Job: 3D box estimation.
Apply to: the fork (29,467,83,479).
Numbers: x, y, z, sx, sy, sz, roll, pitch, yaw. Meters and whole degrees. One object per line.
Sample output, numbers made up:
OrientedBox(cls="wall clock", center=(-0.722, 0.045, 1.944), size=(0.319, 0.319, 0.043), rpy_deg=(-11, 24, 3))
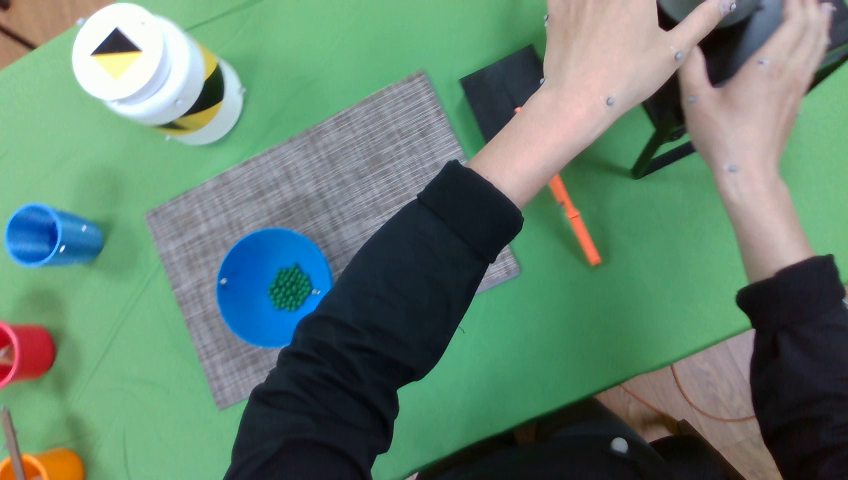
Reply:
OrientedBox(cls="fork", center=(-0.571, 0.330, 0.800), size=(0.208, 0.018, 0.028), rpy_deg=(0, 93, -33))

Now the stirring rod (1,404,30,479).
OrientedBox(cls="stirring rod", center=(-0.527, 0.301, 0.792), size=(0.014, 0.006, 0.175), rpy_deg=(-20, 82, 6))

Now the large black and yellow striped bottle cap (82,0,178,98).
OrientedBox(cls="large black and yellow striped bottle cap", center=(-0.341, -0.223, 0.701), size=(0.115, 0.019, 0.115), rpy_deg=(-1, 86, 11))

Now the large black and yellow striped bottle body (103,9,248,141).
OrientedBox(cls="large black and yellow striped bottle body", center=(-0.327, -0.214, 0.783), size=(0.130, 0.185, 0.130), rpy_deg=(-1, 84, 11))

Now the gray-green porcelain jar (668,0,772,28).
OrientedBox(cls="gray-green porcelain jar", center=(0.267, -0.252, 0.521), size=(0.105, 0.127, 0.105), rpy_deg=(-1, 85, 12))

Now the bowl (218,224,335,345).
OrientedBox(cls="bowl", center=(-0.177, 0.058, 0.782), size=(0.151, 0.077, 0.151), rpy_deg=(-1, 85, 11))

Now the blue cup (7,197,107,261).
OrientedBox(cls="blue cup", center=(-0.499, -0.010, 0.840), size=(0.092, 0.100, 0.092), rpy_deg=(-1, 85, 9))

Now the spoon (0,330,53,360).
OrientedBox(cls="spoon", center=(-0.620, 0.162, 0.828), size=(0.194, 0.021, 0.041), rpy_deg=(-11, 82, -34))

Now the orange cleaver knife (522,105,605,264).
OrientedBox(cls="orange cleaver knife", center=(0.167, -0.065, 0.730), size=(0.012, 0.076, 0.213), rpy_deg=(-28, 110, 4))
